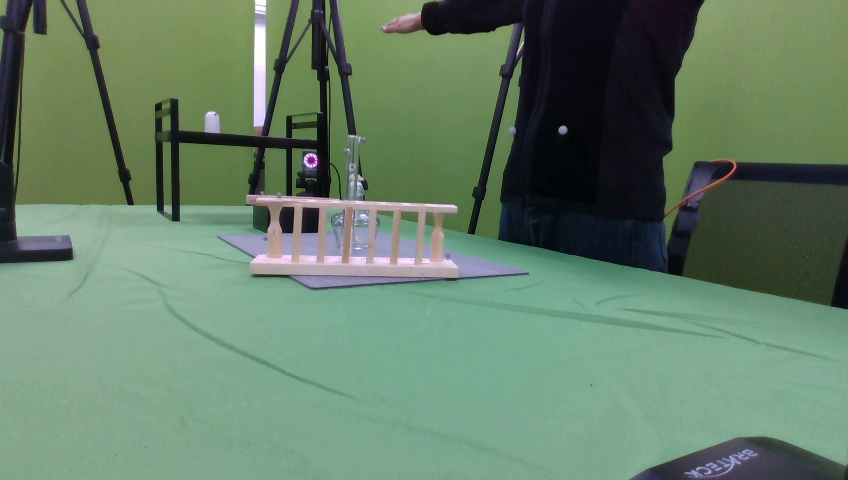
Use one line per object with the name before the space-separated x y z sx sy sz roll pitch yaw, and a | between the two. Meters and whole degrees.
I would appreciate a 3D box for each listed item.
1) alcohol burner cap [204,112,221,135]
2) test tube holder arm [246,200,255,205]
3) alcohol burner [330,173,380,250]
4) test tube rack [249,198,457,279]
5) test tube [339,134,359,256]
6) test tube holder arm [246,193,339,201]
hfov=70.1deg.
alcohol burner cap | -0.444 -0.245 1.270 0.034 0.048 0.034 4 8 0
test tube holder arm | -0.283 -0.072 1.118 0.088 0.010 0.015 -6 21 -31
alcohol burner | -0.107 -0.044 0.938 0.078 0.119 0.078 1 6 0
test tube rack | -0.082 -0.002 0.733 0.243 0.085 0.066 2 8 -8
test tube | -0.092 -0.054 0.743 0.017 0.150 0.017 4 5 0
test tube holder arm | -0.244 -0.081 1.140 0.179 0.013 0.015 -6 21 -31
